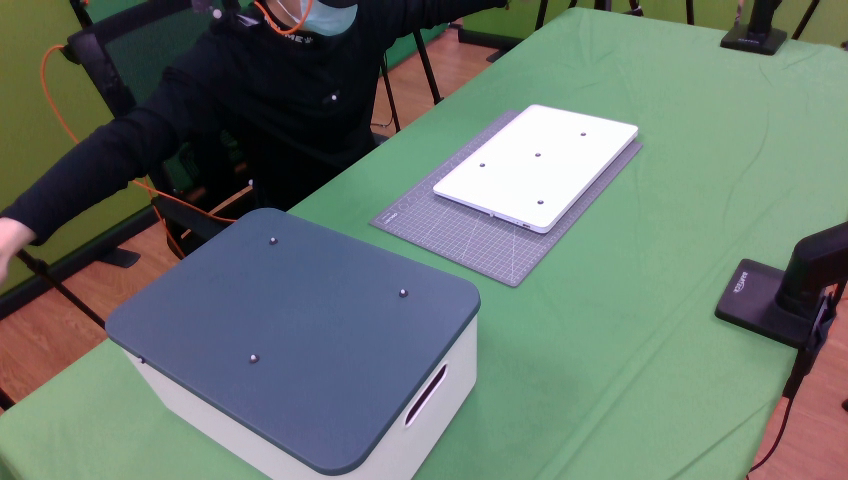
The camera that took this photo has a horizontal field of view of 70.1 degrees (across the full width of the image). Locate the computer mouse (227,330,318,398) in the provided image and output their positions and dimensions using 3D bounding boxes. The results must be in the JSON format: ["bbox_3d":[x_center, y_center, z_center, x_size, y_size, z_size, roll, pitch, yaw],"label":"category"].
[{"bbox_3d":[-0.201,0.158,0.804,0.118,0.041,0.062,-29,40,-33],"label":"computer mouse"}]

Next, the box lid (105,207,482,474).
[{"bbox_3d":[-0.149,0.079,0.677,0.369,0.015,0.264,20,46,28],"label":"box lid"}]

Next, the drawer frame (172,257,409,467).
[{"bbox_3d":[-0.164,0.141,0.767,0.212,0.083,0.202,25,51,28],"label":"drawer frame"}]

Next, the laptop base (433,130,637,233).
[{"bbox_3d":[0.210,-0.142,1.111,0.233,0.023,0.355,21,47,34],"label":"laptop base"}]

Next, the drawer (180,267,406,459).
[{"bbox_3d":[-0.162,0.145,0.771,0.210,0.073,0.195,22,45,32],"label":"drawer"}]

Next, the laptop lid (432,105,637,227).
[{"bbox_3d":[0.207,-0.152,1.104,0.239,0.013,0.358,23,49,34],"label":"laptop lid"}]

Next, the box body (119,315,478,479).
[{"bbox_3d":[-0.140,0.136,0.725,0.361,0.161,0.254,19,47,28],"label":"box body"}]
